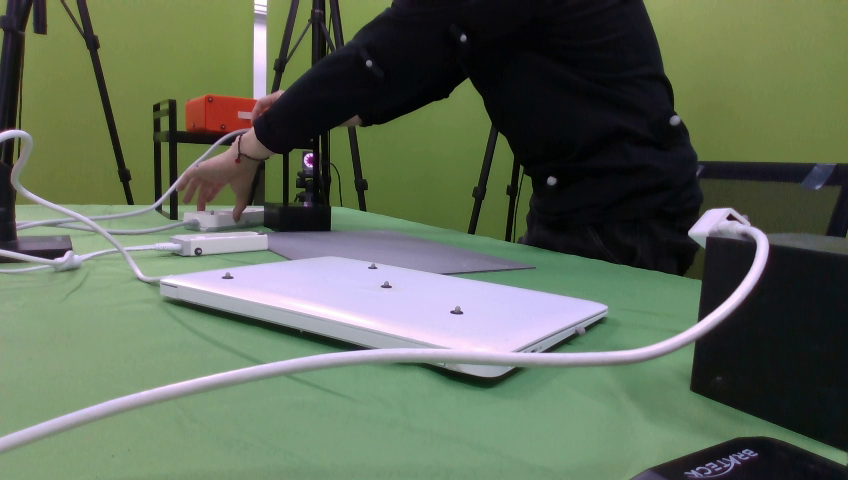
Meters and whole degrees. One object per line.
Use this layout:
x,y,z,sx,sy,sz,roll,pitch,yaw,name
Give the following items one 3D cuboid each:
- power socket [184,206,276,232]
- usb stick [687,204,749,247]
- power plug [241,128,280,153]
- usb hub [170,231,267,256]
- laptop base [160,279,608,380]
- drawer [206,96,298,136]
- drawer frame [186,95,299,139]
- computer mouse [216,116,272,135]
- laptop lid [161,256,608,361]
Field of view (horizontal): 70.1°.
-0.372,-0.044,1.179,0.072,0.032,0.227,4,8,19,power socket
0.214,-0.010,0.448,0.021,0.027,0.059,40,2,6,usb stick
-0.331,-0.202,1.233,0.072,0.052,0.035,-4,6,1,power plug
-0.290,0.004,0.862,0.049,0.025,0.126,11,11,42,usb hub
-0.039,0.059,0.555,0.352,0.023,0.237,8,7,33,laptop base
-0.413,-0.275,1.376,0.195,0.073,0.210,-3,8,-31,drawer
-0.417,-0.277,1.378,0.203,0.082,0.212,-3,8,-32,drawer frame
-0.401,-0.257,1.353,0.118,0.041,0.062,-5,14,-34,computer mouse
-0.037,0.046,0.556,0.355,0.013,0.243,8,8,35,laptop lid
